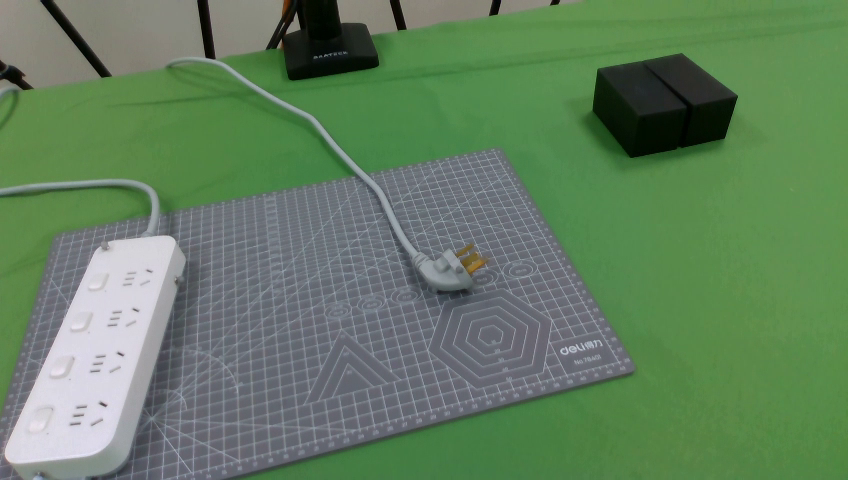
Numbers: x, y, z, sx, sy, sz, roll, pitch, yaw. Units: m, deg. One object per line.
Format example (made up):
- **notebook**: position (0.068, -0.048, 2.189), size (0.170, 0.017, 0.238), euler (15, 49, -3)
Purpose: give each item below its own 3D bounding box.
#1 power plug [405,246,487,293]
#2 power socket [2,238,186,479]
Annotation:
- **power plug**: position (0.016, 0.013, 0.500), size (0.052, 0.035, 0.072), euler (-32, 60, -5)
- **power socket**: position (-0.238, 0.079, 0.459), size (0.072, 0.033, 0.224), euler (-5, 42, -1)
